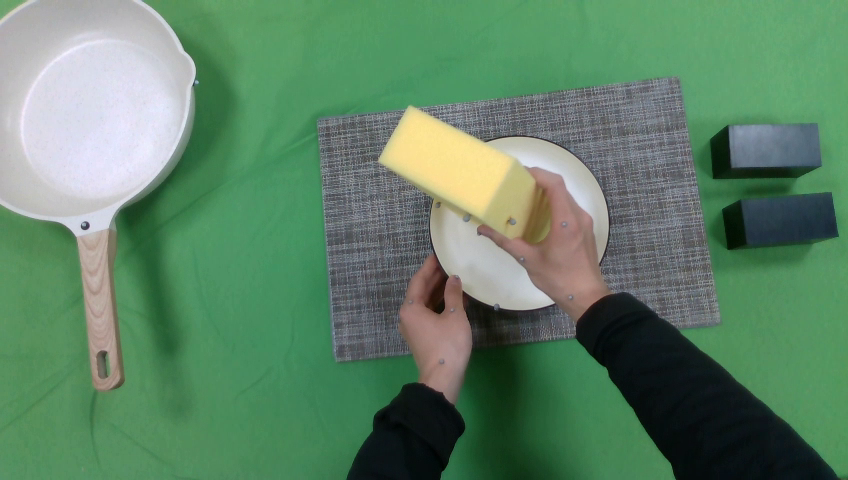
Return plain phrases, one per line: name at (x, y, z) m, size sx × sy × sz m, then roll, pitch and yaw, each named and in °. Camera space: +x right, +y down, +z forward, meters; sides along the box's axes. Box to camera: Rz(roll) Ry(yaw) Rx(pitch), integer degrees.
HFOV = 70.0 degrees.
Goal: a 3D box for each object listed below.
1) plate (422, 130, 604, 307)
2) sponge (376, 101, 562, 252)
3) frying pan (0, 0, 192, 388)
plate at (0.103, -0.024, 0.710) m, size 0.207 × 0.039 × 0.207 m, roll 0°, pitch 82°, yaw 3°
sponge at (0.056, -0.056, 0.614) m, size 0.117 × 0.208 × 0.061 m, roll 31°, pitch 93°, yaw 26°
frying pan at (-0.396, -0.068, 0.714) m, size 0.307 × 0.103 × 0.484 m, roll -14°, pitch 73°, yaw 2°
